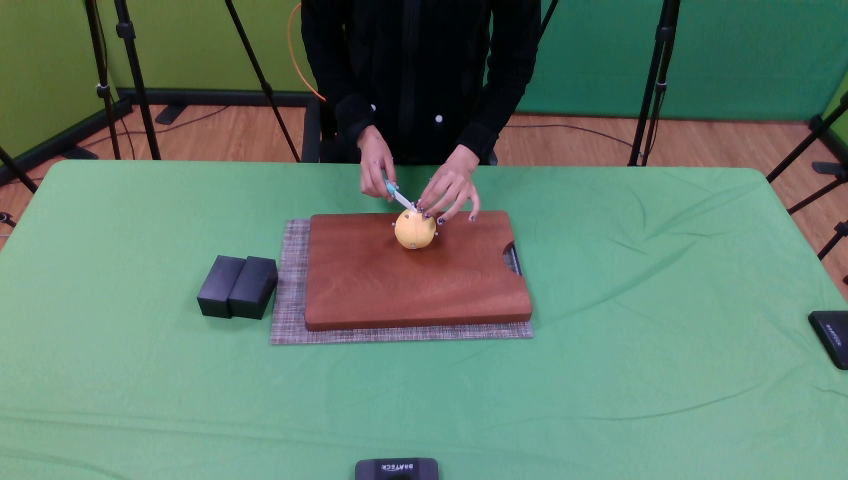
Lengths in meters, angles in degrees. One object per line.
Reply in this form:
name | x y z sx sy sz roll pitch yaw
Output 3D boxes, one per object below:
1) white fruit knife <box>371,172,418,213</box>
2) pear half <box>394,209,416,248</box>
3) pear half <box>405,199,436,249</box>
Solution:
white fruit knife | -0.057 -0.092 1.153 0.016 0.027 0.206 -26 34 -16
pear half | -0.038 -0.021 1.129 0.031 0.088 0.070 -19 56 -21
pear half | -0.006 -0.038 1.134 0.056 0.110 0.076 -19 55 -20
